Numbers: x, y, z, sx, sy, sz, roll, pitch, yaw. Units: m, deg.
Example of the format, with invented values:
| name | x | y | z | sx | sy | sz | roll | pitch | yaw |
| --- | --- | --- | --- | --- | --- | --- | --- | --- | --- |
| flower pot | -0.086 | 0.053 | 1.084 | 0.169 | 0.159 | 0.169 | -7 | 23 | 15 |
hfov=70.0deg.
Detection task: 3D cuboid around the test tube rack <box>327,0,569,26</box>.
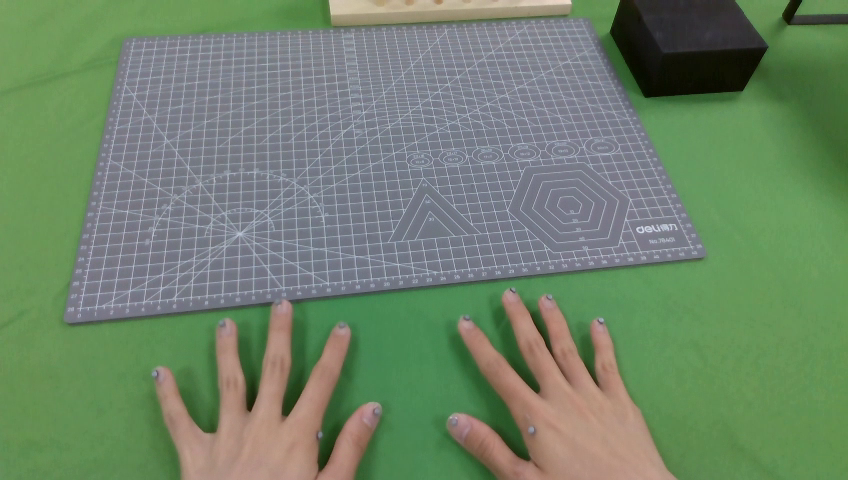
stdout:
| name | x | y | z | sx | sy | sz | roll | pitch | yaw |
| --- | --- | --- | --- | --- | --- | --- | --- | --- | --- |
| test tube rack | 0.025 | -0.271 | 0.592 | 0.243 | 0.086 | 0.066 | -6 | 55 | -8 |
